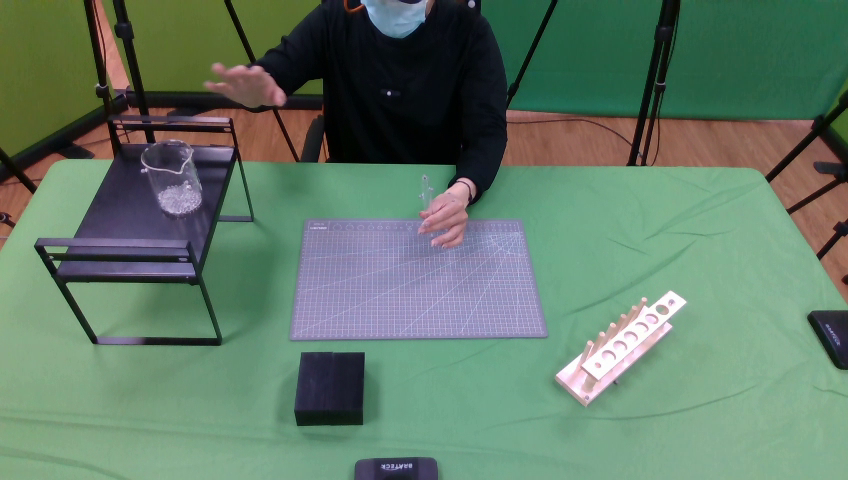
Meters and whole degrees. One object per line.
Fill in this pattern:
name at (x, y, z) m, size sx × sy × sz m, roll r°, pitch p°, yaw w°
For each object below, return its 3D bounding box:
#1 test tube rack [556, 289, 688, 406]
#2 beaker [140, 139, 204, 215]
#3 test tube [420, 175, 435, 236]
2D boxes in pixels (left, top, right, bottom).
test tube rack at (0.333, 0.165, 1.014) m, size 0.242 × 0.085 × 0.066 m, roll -30°, pitch 55°, yaw -28°
beaker at (-0.391, -0.095, 0.955) m, size 0.074 × 0.101 × 0.083 m, roll -30°, pitch 55°, yaw -27°
test tube at (0.007, -0.058, 1.078) m, size 0.017 × 0.151 × 0.017 m, roll -3°, pitch 50°, yaw 4°
